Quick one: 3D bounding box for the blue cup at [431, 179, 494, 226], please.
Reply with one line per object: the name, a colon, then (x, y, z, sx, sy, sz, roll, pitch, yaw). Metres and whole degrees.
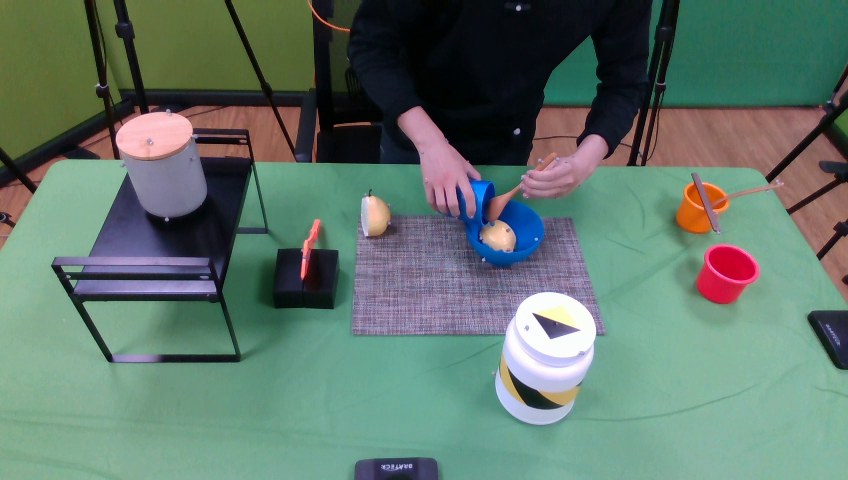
blue cup: (0.069, -0.075, 1.118, 0.100, 0.093, 0.092, 11, 46, 18)

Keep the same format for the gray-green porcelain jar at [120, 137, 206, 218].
gray-green porcelain jar: (-0.403, -0.106, 0.946, 0.106, 0.127, 0.105, 3, 46, -2)

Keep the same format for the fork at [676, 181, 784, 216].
fork: (0.618, -0.084, 1.235, 0.207, 0.019, 0.028, -23, 21, 38)

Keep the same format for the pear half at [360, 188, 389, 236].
pear half: (-0.096, -0.060, 1.181, 0.056, 0.110, 0.076, -13, 52, -17)

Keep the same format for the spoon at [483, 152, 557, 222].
spoon: (0.165, -0.094, 1.066, 0.022, 0.194, 0.041, 1, 56, -45)

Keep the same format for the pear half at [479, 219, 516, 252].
pear half: (0.145, -0.012, 1.165, 0.070, 0.031, 0.087, -20, 56, -15)

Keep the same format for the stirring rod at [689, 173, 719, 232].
stirring rod: (0.566, -0.080, 1.225, 0.014, 0.006, 0.175, 3, 46, 1)

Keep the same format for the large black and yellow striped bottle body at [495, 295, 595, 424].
large black and yellow striped bottle body: (0.183, 0.182, 0.923, 0.131, 0.185, 0.130, 2, 46, -2)

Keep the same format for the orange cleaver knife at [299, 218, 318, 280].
orange cleaver knife: (-0.214, 0.013, 1.125, 0.012, 0.077, 0.210, 6, 17, -5)

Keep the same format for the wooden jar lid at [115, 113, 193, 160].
wooden jar lid: (-0.399, -0.151, 0.900, 0.108, 0.021, 0.107, 3, 46, -3)

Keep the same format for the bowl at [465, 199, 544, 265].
bowl: (0.149, -0.004, 1.167, 0.151, 0.077, 0.150, 2, 46, -2)

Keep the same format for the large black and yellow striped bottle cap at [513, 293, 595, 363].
large black and yellow striped bottle cap: (0.186, 0.123, 0.863, 0.115, 0.019, 0.114, 3, 45, -3)
